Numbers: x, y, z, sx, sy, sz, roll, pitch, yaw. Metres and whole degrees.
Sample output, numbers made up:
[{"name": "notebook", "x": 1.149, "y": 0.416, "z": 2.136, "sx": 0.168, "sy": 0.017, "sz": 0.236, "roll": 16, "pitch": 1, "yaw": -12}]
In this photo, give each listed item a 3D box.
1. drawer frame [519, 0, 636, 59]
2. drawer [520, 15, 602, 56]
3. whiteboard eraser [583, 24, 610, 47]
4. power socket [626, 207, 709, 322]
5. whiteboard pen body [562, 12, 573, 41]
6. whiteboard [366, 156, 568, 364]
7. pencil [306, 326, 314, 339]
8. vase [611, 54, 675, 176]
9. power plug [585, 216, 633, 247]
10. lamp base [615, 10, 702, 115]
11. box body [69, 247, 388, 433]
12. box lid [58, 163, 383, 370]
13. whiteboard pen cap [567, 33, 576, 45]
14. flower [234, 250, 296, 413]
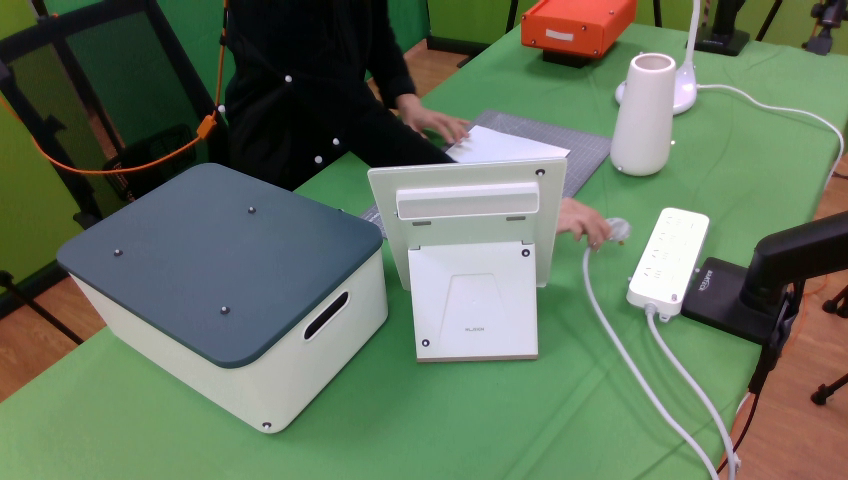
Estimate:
[{"name": "drawer frame", "x": 0.362, "y": -0.518, "z": 1.423, "sx": 0.200, "sy": 0.083, "sz": 0.214, "roll": 19, "pitch": 48, "yaw": 29}, {"name": "drawer", "x": 0.359, "y": -0.517, "z": 1.417, "sx": 0.193, "sy": 0.073, "sz": 0.212, "roll": 19, "pitch": 47, "yaw": 29}, {"name": "whiteboard eraser", "x": 0.407, "y": -0.479, "z": 1.423, "sx": 0.055, "sy": 0.042, "sz": 0.113, "roll": -3, "pitch": 9, "yaw": 20}, {"name": "power socket", "x": 0.360, "y": 0.026, "z": 0.886, "sx": 0.072, "sy": 0.033, "sz": 0.227, "roll": 17, "pitch": 46, "yaw": 26}, {"name": "whiteboard pen body", "x": 0.340, "y": -0.505, "z": 1.431, "sx": 0.017, "sy": 0.017, "sz": 0.140, "roll": -1, "pitch": 44, "yaw": 7}, {"name": "whiteboard", "x": 0.059, "y": 0.050, "z": 0.738, "sx": 0.217, "sy": 0.307, "sz": 0.143, "roll": -2, "pitch": 60, "yaw": 6}, {"name": "pencil", "x": -0.187, "y": 0.106, "z": 0.880, "sx": 0.012, "sy": 0.012, "sz": 0.192, "roll": -27, "pitch": 41, "yaw": -22}, {"name": "vase", "x": 0.377, "y": -0.209, "z": 1.031, "sx": 0.098, "sy": 0.201, "sz": 0.097, "roll": -3, "pitch": 40, "yaw": 3}, {"name": "power plug", "x": 0.261, "y": -0.006, "z": 0.858, "sx": 0.072, "sy": 0.053, "sz": 0.035, "roll": -34, "pitch": 37, "yaw": 11}, {"name": "lamp base", "x": 0.484, "y": -0.364, "z": 1.211, "sx": 0.180, "sy": 0.181, "sz": 0.159, "roll": -15, "pitch": 41, "yaw": -14}, {"name": "box body", "x": -0.256, "y": 0.066, "z": 0.826, "sx": 0.361, "sy": 0.161, "sz": 0.255, "roll": 20, "pitch": 48, "yaw": 29}, {"name": "box lid", "x": -0.262, "y": 0.010, "z": 0.777, "sx": 0.369, "sy": 0.015, "sz": 0.264, "roll": 21, "pitch": 47, "yaw": 29}, {"name": "whiteboard pen cap", "x": 0.339, "y": -0.463, "z": 1.390, "sx": 0.018, "sy": 0.018, "sz": 0.033, "roll": -2, "pitch": 44, "yaw": 5}, {"name": "flower", "x": -0.244, "y": 0.109, "z": 0.870, "sx": 0.044, "sy": 0.038, "sz": 0.358, "roll": 10, "pitch": 26, "yaw": -32}]
